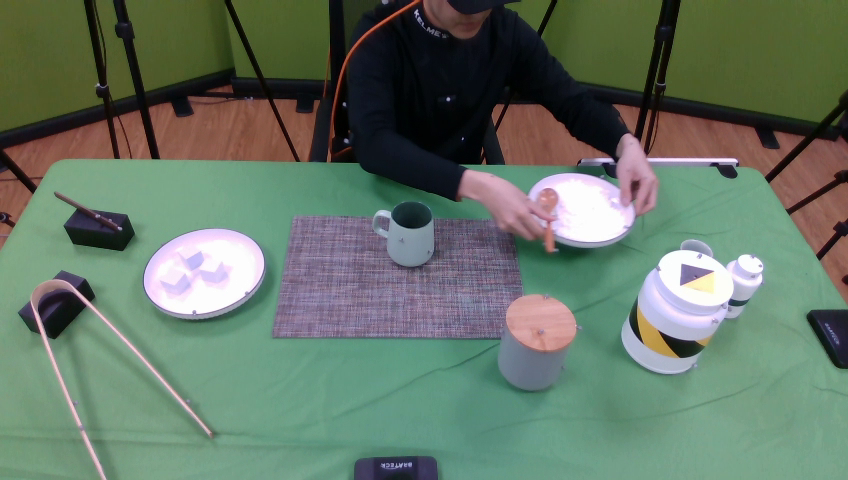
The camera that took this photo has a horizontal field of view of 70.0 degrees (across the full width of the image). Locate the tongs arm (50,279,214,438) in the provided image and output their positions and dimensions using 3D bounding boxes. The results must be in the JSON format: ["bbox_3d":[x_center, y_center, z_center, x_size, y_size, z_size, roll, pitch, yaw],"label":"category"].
[{"bbox_3d":[-0.459,0.178,0.949,0.386,0.028,0.028,37,60,17],"label":"tongs arm"}]

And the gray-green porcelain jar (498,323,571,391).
[{"bbox_3d":[0.176,0.172,0.971,0.106,0.127,0.105,2,46,-2],"label":"gray-green porcelain jar"}]

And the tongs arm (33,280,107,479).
[{"bbox_3d":[-0.517,0.214,0.909,0.051,0.026,0.383,-29,63,-26],"label":"tongs arm"}]

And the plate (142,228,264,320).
[{"bbox_3d":[-0.394,0.064,1.095,0.208,0.039,0.206,2,46,-2],"label":"plate"}]

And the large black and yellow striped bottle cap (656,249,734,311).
[{"bbox_3d":[0.419,0.061,0.938,0.115,0.019,0.114,2,47,-2],"label":"large black and yellow striped bottle cap"}]

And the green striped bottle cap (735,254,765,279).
[{"bbox_3d":[0.566,0.046,1.051,0.044,0.020,0.044,0,45,0],"label":"green striped bottle cap"}]

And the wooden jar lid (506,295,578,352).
[{"bbox_3d":[0.179,0.129,0.925,0.108,0.021,0.107,2,43,-2],"label":"wooden jar lid"}]

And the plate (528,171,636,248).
[{"bbox_3d":[0.304,-0.056,1.183,0.209,0.038,0.208,1,45,-1],"label":"plate"}]

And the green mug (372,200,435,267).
[{"bbox_3d":[-0.040,-0.016,1.146,0.125,0.105,0.092,17,48,13],"label":"green mug"}]

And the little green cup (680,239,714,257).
[{"bbox_3d":[0.530,0.033,1.190,0.061,0.039,0.061,2,47,-2],"label":"little green cup"}]

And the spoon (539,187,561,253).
[{"bbox_3d":[0.238,-0.041,1.144,0.041,0.022,0.193,1,36,11],"label":"spoon"}]

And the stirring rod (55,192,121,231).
[{"bbox_3d":[-0.632,-0.055,1.138,0.175,0.014,0.006,24,50,19],"label":"stirring rod"}]

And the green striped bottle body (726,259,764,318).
[{"bbox_3d":[0.563,0.081,1.089,0.063,0.120,0.063,2,46,-2],"label":"green striped bottle body"}]

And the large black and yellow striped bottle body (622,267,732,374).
[{"bbox_3d":[0.415,0.119,0.997,0.131,0.185,0.130,2,46,-2],"label":"large black and yellow striped bottle body"}]
